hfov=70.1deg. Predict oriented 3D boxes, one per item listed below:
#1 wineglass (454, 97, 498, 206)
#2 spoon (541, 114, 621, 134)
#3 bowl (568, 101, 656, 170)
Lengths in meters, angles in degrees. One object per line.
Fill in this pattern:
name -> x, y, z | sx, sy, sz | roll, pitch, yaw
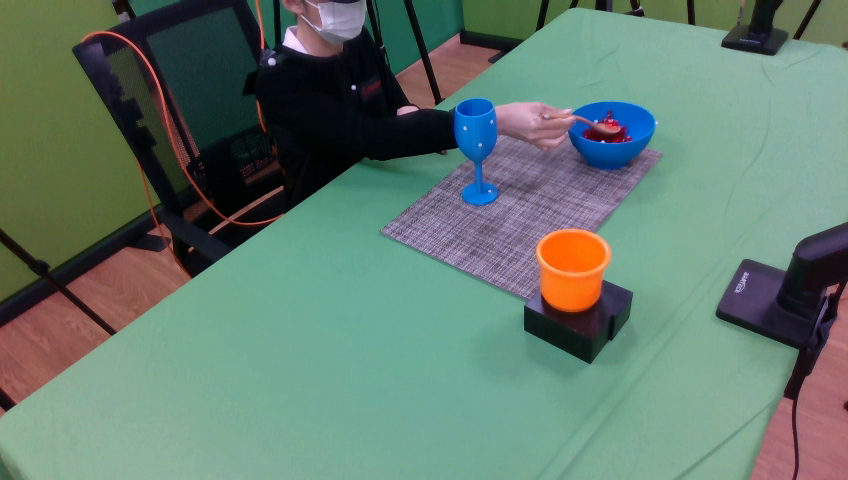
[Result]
wineglass -> 0.090, -0.145, 1.009 | 0.074, 0.173, 0.073 | -5, 40, 4
spoon -> 0.274, -0.206, 1.054 | 0.195, 0.021, 0.041 | 4, 28, -36
bowl -> 0.332, -0.179, 1.084 | 0.151, 0.077, 0.150 | -4, 40, 4
